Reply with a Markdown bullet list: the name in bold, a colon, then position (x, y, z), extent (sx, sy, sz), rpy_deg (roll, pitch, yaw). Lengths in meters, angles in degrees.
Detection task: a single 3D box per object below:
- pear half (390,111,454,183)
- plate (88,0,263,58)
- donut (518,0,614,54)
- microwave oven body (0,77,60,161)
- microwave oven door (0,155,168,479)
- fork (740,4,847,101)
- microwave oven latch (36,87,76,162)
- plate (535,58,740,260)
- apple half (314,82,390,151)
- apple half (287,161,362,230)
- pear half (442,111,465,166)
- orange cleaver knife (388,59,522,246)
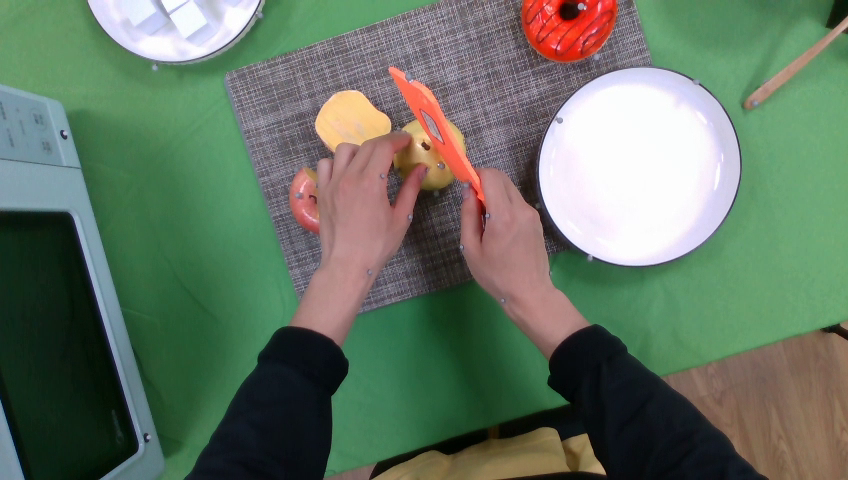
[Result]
- **pear half**: position (-0.006, -0.092, 0.620), extent (0.056, 0.110, 0.076), rpy_deg (-36, 87, 2)
- **plate**: position (-0.265, -0.300, 0.658), extent (0.207, 0.039, 0.207), rpy_deg (0, 94, 3)
- **donut**: position (0.147, -0.244, 0.632), extent (0.099, 0.048, 0.099), rpy_deg (0, 95, 6)
- **microwave oven body**: position (-0.513, 0.090, 0.585), extent (0.326, 0.260, 0.442), rpy_deg (-15, 94, 4)
- **microwave oven door**: position (-0.362, 0.095, 0.571), extent (0.039, 0.243, 0.356), rpy_deg (-15, 93, 4)
- **fork**: position (0.405, -0.216, 0.601), extent (0.028, 0.018, 0.207), rpy_deg (41, 116, -8)
- **microwave oven latch**: position (-0.409, -0.124, 0.660), extent (0.030, 0.029, 0.079), rpy_deg (-14, 94, 4)
- **plate**: position (0.221, -0.084, 0.642), extent (0.209, 0.038, 0.209), rpy_deg (0, 94, 3)
- **apple half**: position (-0.081, -0.126, 0.655), extent (0.081, 0.033, 0.081), rpy_deg (3, 72, -9)
- **apple half**: position (-0.112, -0.041, 0.646), extent (0.081, 0.074, 0.053), rpy_deg (37, 99, -4)
- **pear half**: position (0.023, -0.110, 0.626), extent (0.031, 0.088, 0.070), rpy_deg (-36, 85, 5)
- **orange cleaver knife**: position (0.031, -0.076, 0.563), extent (0.012, 0.076, 0.213), rpy_deg (-39, 123, -4)
